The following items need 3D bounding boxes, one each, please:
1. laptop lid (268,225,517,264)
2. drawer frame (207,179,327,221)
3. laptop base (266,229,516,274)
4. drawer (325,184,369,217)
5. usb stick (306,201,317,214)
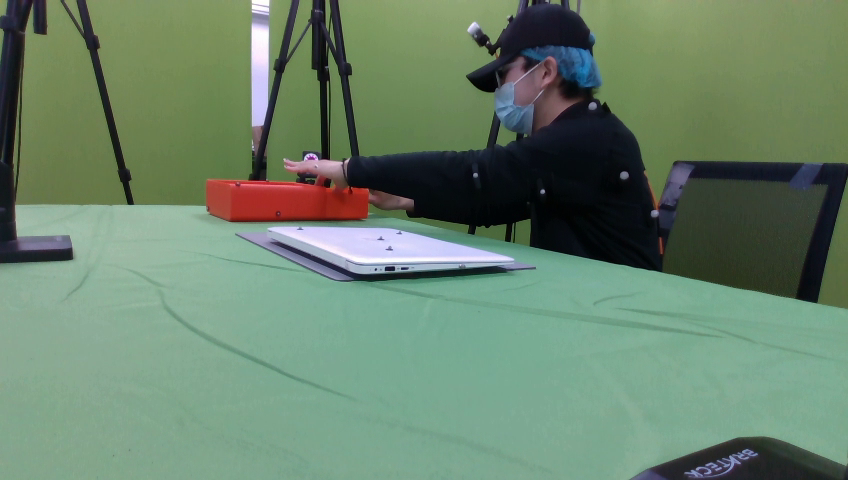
[{"bbox_3d":[-0.063,0.002,0.877,0.243,0.013,0.355,1,7,-30],"label":"laptop lid"},{"bbox_3d":[-0.356,-0.093,1.364,0.215,0.082,0.200,-3,10,-34],"label":"drawer frame"},{"bbox_3d":[-0.066,0.014,0.877,0.237,0.023,0.352,2,6,-32],"label":"laptop base"},{"bbox_3d":[-0.266,-0.095,1.426,0.213,0.073,0.193,-3,10,-34],"label":"drawer"},{"bbox_3d":[-0.266,-0.078,1.426,0.021,0.027,0.059,1,8,-16],"label":"usb stick"}]
